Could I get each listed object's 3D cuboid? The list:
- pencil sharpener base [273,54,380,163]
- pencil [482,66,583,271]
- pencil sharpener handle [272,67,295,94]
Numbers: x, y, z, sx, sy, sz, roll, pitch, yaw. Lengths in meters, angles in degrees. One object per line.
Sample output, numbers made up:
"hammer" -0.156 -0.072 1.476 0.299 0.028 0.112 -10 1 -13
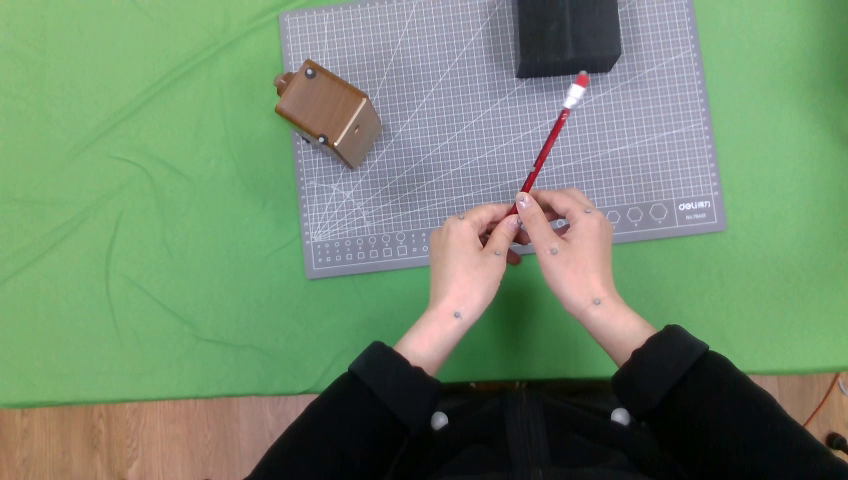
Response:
"pencil sharpener base" -0.097 -0.130 0.613 0.076 0.107 0.061 33 89 5
"pencil" 0.091 -0.057 0.527 0.012 0.012 0.194 25 107 5
"pencil sharpener handle" -0.139 -0.160 0.604 0.030 0.068 0.036 33 97 6
